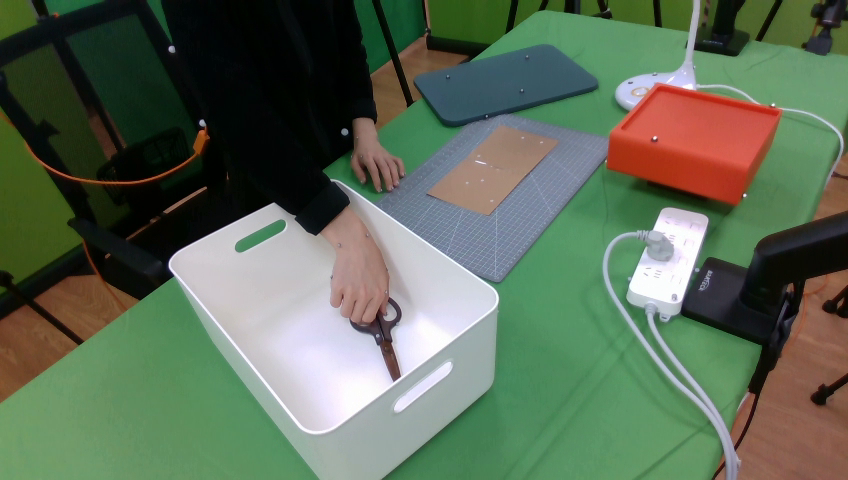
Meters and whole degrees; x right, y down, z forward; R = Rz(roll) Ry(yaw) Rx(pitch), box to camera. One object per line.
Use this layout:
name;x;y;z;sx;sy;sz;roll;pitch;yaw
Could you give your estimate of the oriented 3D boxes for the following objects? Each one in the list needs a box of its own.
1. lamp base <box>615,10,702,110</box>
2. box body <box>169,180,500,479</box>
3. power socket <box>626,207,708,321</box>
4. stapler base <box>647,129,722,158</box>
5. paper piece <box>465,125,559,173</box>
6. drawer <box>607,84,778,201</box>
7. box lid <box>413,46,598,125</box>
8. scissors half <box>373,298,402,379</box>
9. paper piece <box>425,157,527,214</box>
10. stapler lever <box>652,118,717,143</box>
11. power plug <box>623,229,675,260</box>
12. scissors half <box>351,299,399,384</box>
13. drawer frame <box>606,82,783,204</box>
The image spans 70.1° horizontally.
lamp base;0.484;-0.364;1.211;0.180;0.181;0.159;-15;41;-14
box body;-0.110;0.103;0.761;0.255;0.161;0.361;-33;46;-27
power socket;0.360;0.026;0.886;0.072;0.033;0.227;16;46;26
stapler base;0.439;-0.167;1.023;0.131;0.024;0.041;-17;25;-15
paper piece;0.171;-0.177;1.168;0.137;0.009;0.136;21;44;30
drawer;0.438;-0.167;0.995;0.210;0.073;0.195;23;48;30
box lid;0.177;-0.360;1.382;0.373;0.015;0.261;-16;40;-11
scissors half;-0.044;0.141;0.820;0.040;0.013;0.174;2;38;-12
paper piece;0.094;-0.103;1.089;0.134;0.004;0.136;22;48;30
stapler lever;0.436;-0.192;1.014;0.118;0.040;0.026;-15;25;-16
power plug;0.327;0.007;0.878;0.072;0.053;0.035;25;51;33
scissors half;-0.063;0.142;0.814;0.040;0.013;0.173;-12;41;-20
drawer frame;0.441;-0.167;0.995;0.212;0.083;0.202;23;48;30
